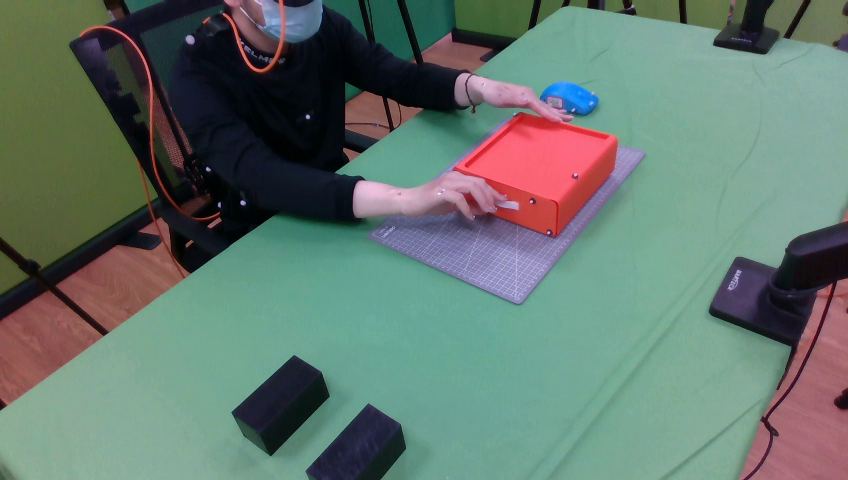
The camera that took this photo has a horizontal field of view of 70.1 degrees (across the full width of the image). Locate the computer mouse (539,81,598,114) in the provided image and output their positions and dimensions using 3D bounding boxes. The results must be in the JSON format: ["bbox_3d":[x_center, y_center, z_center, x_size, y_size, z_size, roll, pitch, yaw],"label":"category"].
[{"bbox_3d":[0.302,-0.300,1.262,0.116,0.041,0.063,26,49,27],"label":"computer mouse"}]

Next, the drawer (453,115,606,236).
[{"bbox_3d":[0.189,-0.119,1.029,0.193,0.073,0.212,23,49,31],"label":"drawer"}]

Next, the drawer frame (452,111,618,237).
[{"bbox_3d":[0.190,-0.120,1.030,0.200,0.083,0.214,22,48,30],"label":"drawer frame"}]
